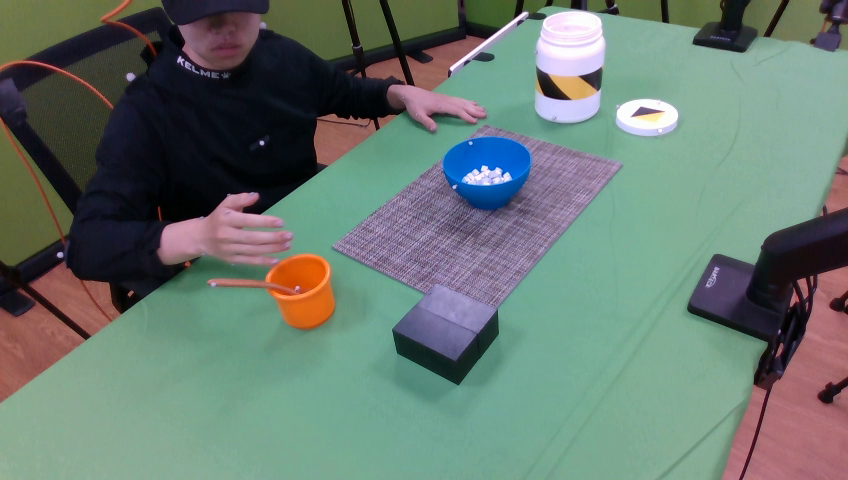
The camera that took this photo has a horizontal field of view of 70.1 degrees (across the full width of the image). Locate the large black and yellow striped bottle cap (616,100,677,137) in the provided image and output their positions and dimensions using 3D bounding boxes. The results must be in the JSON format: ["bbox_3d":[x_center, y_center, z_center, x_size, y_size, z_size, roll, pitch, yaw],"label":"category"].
[{"bbox_3d":[0.438,-0.241,1.190,0.115,0.019,0.114,-4,42,4],"label":"large black and yellow striped bottle cap"}]

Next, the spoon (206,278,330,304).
[{"bbox_3d":[-0.207,0.066,0.824,0.041,0.021,0.195,33,10,41],"label":"spoon"}]

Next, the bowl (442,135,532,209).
[{"bbox_3d":[0.108,-0.106,1.026,0.151,0.077,0.150,-4,41,4],"label":"bowl"}]

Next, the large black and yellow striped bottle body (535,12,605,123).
[{"bbox_3d":[0.288,-0.340,1.197,0.131,0.185,0.130,-4,41,4],"label":"large black and yellow striped bottle body"}]
